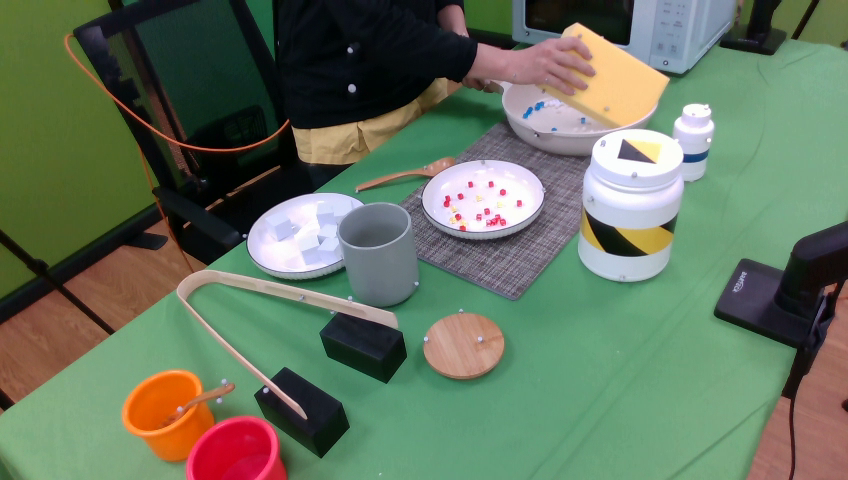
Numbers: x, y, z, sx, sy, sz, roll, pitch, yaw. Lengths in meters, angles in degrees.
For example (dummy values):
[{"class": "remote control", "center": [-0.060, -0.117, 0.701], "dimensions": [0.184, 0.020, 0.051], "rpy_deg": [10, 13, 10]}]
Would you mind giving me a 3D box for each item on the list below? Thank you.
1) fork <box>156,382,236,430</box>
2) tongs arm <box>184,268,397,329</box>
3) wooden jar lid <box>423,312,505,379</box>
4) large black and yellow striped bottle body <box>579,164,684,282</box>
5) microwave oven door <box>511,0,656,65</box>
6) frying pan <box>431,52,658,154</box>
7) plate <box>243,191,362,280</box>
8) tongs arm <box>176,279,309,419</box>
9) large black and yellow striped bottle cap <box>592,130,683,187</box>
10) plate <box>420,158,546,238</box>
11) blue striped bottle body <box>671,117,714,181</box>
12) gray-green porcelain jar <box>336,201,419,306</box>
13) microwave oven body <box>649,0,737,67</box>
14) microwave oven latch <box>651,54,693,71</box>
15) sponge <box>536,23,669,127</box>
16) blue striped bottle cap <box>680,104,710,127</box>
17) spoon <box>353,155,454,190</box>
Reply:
[{"class": "fork", "center": [-0.262, 0.189, 0.690], "dimensions": [0.018, 0.206, 0.028], "rpy_deg": [49, 43, -7]}, {"class": "tongs arm", "center": [-0.202, 0.084, 0.848], "dimensions": [0.382, 0.027, 0.051], "rpy_deg": [11, 45, 35]}, {"class": "wooden jar lid", "center": [0.053, 0.142, 0.800], "dimensions": [0.108, 0.021, 0.108], "rpy_deg": [-5, 39, 4]}, {"class": "large black and yellow striped bottle body", "center": [0.292, -0.046, 0.859], "dimensions": [0.131, 0.185, 0.130], "rpy_deg": [-4, 41, 4]}, {"class": "microwave oven door", "center": [0.351, -0.540, 1.349], "dimensions": [0.353, 0.245, 0.039], "rpy_deg": [24, 50, 31]}, {"class": "frying pan", "center": [0.216, -0.302, 1.223], "dimensions": [0.484, 0.103, 0.308], "rpy_deg": [29, 49, 24]}, {"class": "plate", "center": [-0.187, -0.005, 0.992], "dimensions": [0.207, 0.039, 0.206], "rpy_deg": [-4, 41, 4]}, {"class": "tongs arm", "center": [-0.254, 0.133, 0.802], "dimensions": [0.028, 0.028, 0.384], "rpy_deg": [-41, 41, -23]}, {"class": "large black and yellow striped bottle cap", "center": [0.282, -0.111, 0.803], "dimensions": [0.115, 0.019, 0.114], "rpy_deg": [-3, 41, 3]}, {"class": "plate", "center": [0.099, -0.067, 1.017], "dimensions": [0.209, 0.038, 0.208], "rpy_deg": [-4, 40, 4]}, {"class": "blue striped bottle body", "center": [0.449, -0.165, 1.022], "dimensions": [0.063, 0.121, 0.063], "rpy_deg": [-5, 41, 4]}, {"class": "gray-green porcelain jar", "center": [-0.064, 0.024, 0.872], "dimensions": [0.106, 0.127, 0.105], "rpy_deg": [-4, 41, 4]}, {"class": "microwave oven body", "center": [0.475, -0.602, 1.411], "dimensions": [0.438, 0.261, 0.327], "rpy_deg": [23, 50, 32]}, {"class": "microwave oven latch", "center": [0.532, -0.386, 1.301], "dimensions": [0.078, 0.029, 0.030], "rpy_deg": [26, 51, 33]}, {"class": "sponge", "center": [0.328, -0.293, 1.115], "dimensions": [0.208, 0.118, 0.060], "rpy_deg": [25, 5, -12]}, {"class": "blue striped bottle cap", "center": [0.443, -0.205, 0.989], "dimensions": [0.044, 0.021, 0.044], "rpy_deg": [-1, 41, 2]}, {"class": "spoon", "center": [-0.038, -0.123, 1.116], "dimensions": [0.194, 0.022, 0.041], "rpy_deg": [-12, 59, -4]}]
